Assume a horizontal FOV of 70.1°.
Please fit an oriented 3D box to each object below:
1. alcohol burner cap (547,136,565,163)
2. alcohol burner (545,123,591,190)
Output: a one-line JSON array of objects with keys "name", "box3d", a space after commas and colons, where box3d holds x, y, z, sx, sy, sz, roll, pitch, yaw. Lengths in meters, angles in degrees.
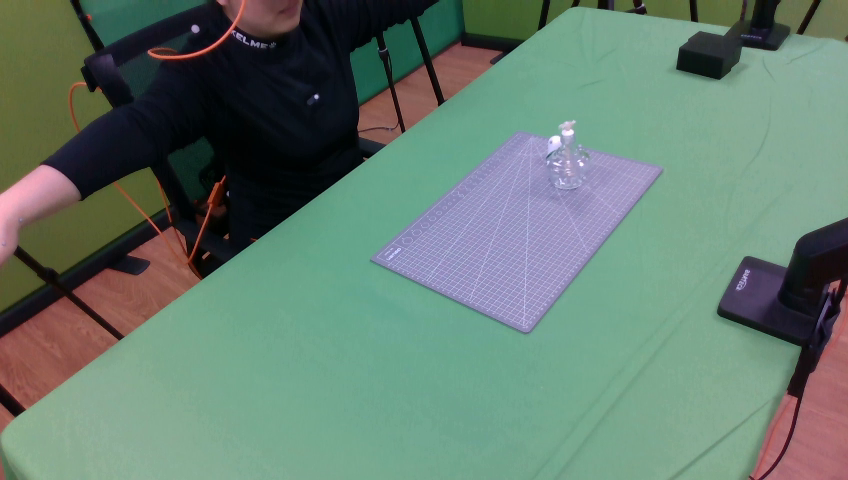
[{"name": "alcohol burner cap", "box3d": [0.245, -0.170, 1.118, 0.034, 0.048, 0.033, -6, 40, 5]}, {"name": "alcohol burner", "box3d": [0.247, -0.147, 1.034, 0.078, 0.120, 0.077, -7, 41, 6]}]
